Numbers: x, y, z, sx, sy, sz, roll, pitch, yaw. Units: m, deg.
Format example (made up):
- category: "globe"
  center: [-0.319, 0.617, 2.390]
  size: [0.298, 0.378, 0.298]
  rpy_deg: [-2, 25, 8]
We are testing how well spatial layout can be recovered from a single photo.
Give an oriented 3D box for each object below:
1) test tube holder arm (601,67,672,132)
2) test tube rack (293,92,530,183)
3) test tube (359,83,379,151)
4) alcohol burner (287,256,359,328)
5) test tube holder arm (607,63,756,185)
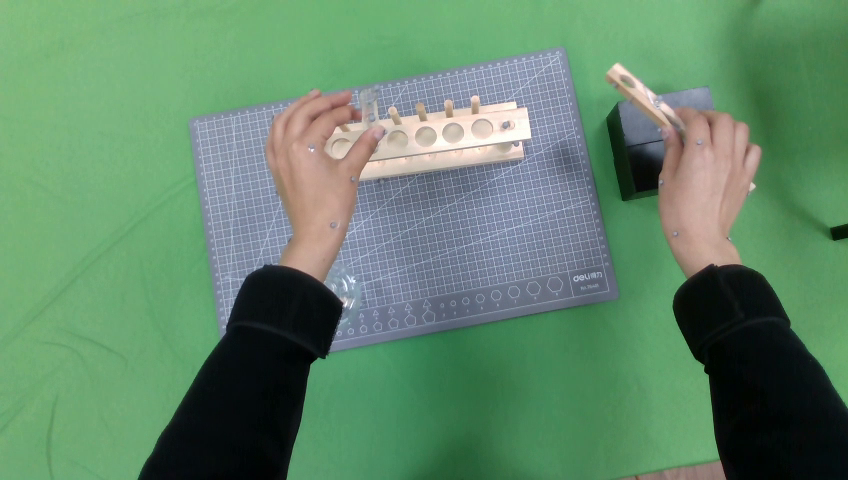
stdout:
- category: "test tube holder arm"
  center: [0.212, -0.139, 0.600]
  size: [0.087, 0.015, 0.010]
  rpy_deg: [43, 92, 10]
- category: "test tube rack"
  center: [-0.013, -0.119, 0.661]
  size: [0.242, 0.085, 0.066]
  rpy_deg: [-8, 83, 1]
- category: "test tube"
  center: [-0.051, -0.111, 0.576]
  size: [0.017, 0.150, 0.017]
  rpy_deg: [1, 80, -4]
- category: "alcohol burner"
  center: [-0.108, 0.053, 0.632]
  size: [0.078, 0.119, 0.077]
  rpy_deg: [0, 82, 1]
- category: "test tube holder arm"
  center: [0.249, -0.114, 0.592]
  size: [0.177, 0.015, 0.013]
  rpy_deg: [41, 91, 10]
